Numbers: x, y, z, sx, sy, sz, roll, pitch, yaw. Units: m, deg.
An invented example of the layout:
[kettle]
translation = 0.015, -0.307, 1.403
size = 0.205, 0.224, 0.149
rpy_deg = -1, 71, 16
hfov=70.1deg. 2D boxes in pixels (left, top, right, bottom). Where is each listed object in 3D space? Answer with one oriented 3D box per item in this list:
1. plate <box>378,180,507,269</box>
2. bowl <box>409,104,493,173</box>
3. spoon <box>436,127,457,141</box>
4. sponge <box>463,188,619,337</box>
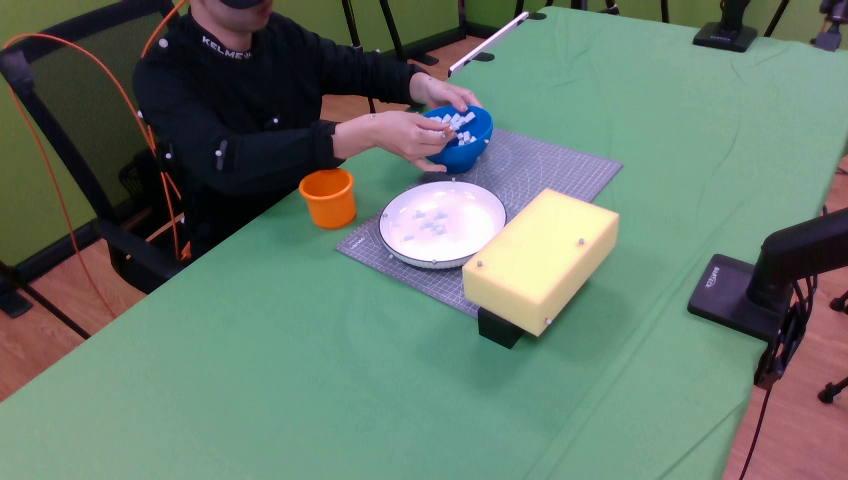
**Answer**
[plate]
translation = 0.031, -0.022, 0.974
size = 0.209, 0.038, 0.208
rpy_deg = -4, 40, 4
[bowl]
translation = 0.055, -0.176, 1.105
size = 0.151, 0.077, 0.150
rpy_deg = -7, 41, 6
[spoon]
translation = 0.039, -0.186, 1.045
size = 0.041, 0.021, 0.193
rpy_deg = -12, 5, 3
[sponge]
translation = 0.160, 0.022, 0.814
size = 0.117, 0.061, 0.207
rpy_deg = 24, 50, 32
